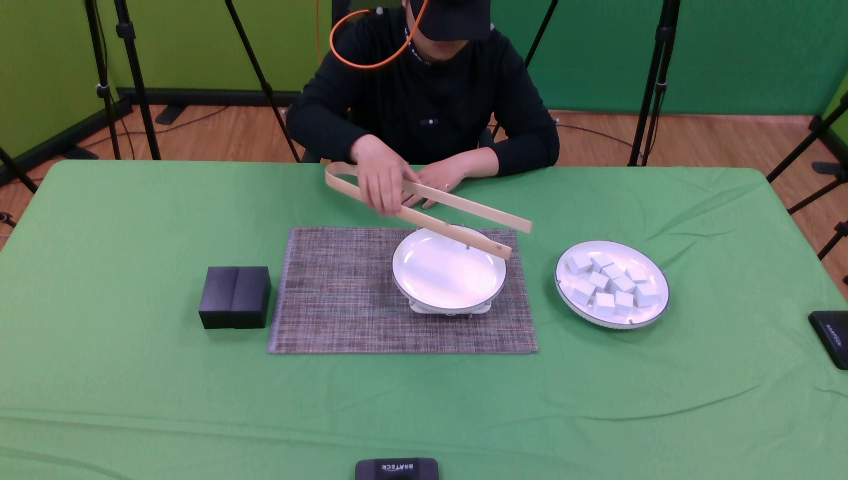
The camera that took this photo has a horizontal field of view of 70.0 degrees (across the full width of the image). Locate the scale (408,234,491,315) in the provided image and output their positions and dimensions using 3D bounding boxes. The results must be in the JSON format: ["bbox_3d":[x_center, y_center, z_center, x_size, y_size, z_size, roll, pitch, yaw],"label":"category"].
[{"bbox_3d":[0.045,0.055,1.135,0.149,0.032,0.199,1,46,-3],"label":"scale"}]

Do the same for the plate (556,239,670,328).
[{"bbox_3d":[0.347,0.083,1.130,0.209,0.038,0.208,2,47,-2],"label":"plate"}]

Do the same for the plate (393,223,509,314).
[{"bbox_3d":[0.048,0.053,1.091,0.208,0.039,0.206,1,46,-1],"label":"plate"}]

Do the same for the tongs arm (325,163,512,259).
[{"bbox_3d":[-0.020,-0.055,1.038,0.383,0.026,0.050,21,42,20],"label":"tongs arm"}]

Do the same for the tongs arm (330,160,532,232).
[{"bbox_3d":[0.006,-0.081,1.075,0.386,0.028,0.028,19,44,17],"label":"tongs arm"}]
